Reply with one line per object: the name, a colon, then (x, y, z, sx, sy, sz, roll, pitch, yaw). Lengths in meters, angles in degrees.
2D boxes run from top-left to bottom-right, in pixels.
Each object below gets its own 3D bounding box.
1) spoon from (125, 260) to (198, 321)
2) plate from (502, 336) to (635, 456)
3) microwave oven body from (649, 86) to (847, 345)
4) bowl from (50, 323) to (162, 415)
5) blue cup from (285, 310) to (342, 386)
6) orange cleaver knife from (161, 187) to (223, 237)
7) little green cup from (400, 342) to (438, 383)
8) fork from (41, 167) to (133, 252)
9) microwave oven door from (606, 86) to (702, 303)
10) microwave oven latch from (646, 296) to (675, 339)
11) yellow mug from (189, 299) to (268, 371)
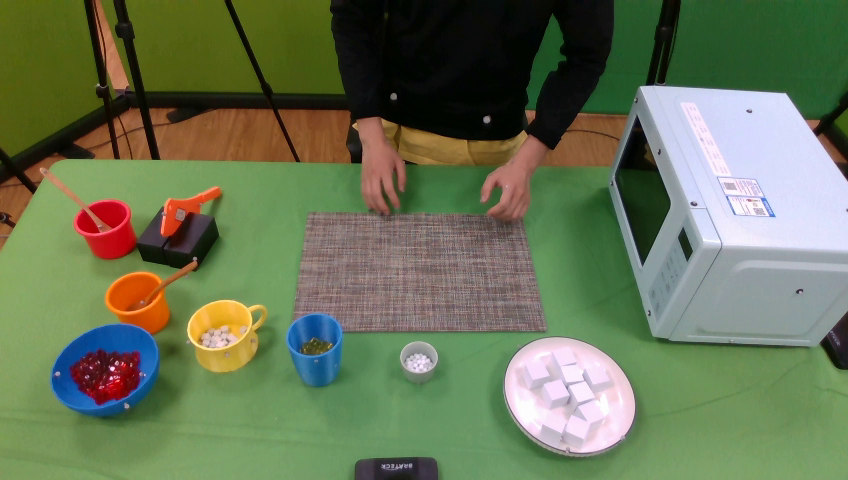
spoon: (-0.434, 0.083, 0.999, 0.022, 0.194, 0.041, 35, 34, -35)
plate: (0.225, 0.248, 0.963, 0.208, 0.039, 0.206, 2, 46, -2)
microwave oven body: (0.568, -0.053, 1.118, 0.326, 0.261, 0.439, 2, 45, -1)
bowl: (-0.472, 0.209, 0.924, 0.151, 0.077, 0.150, 3, 45, -2)
blue cup: (-0.170, 0.179, 0.958, 0.093, 0.101, 0.092, 2, 44, -1)
orange cleaver knife: (-0.448, -0.058, 1.181, 0.012, 0.077, 0.211, 13, 17, 6)
little green cup: (-0.010, 0.202, 0.991, 0.061, 0.039, 0.061, 2, 47, -2)
fork: (-0.624, -0.056, 1.121, 0.208, 0.018, 0.028, 49, 52, -15)
microwave oven door: (0.423, -0.094, 1.140, 0.039, 0.245, 0.353, 2, 46, -1)
microwave oven latch: (0.412, 0.134, 1.061, 0.030, 0.029, 0.078, 3, 45, 1)
yellow mug: (-0.316, 0.148, 1.002, 0.131, 0.064, 0.099, -33, 56, -31)
